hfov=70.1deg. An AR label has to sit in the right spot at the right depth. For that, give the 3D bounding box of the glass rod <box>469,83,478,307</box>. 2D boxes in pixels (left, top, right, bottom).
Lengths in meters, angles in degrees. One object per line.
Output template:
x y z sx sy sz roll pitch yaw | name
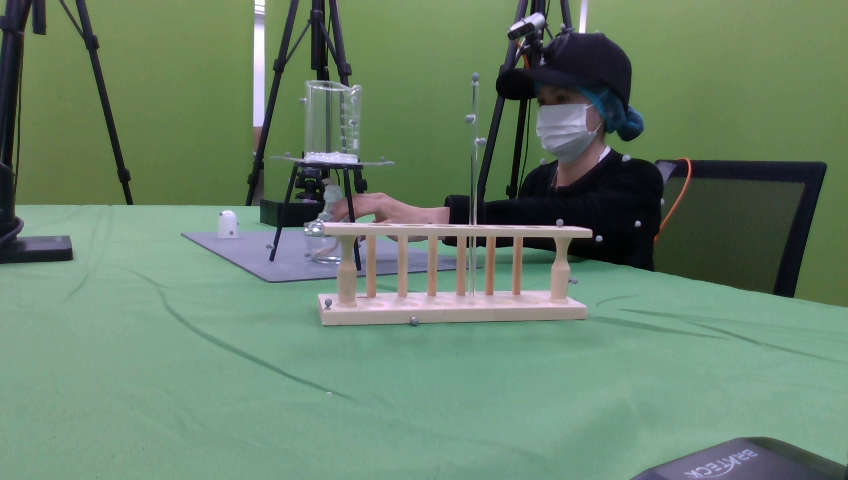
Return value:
0.043 -0.033 0.523 0.008 0.199 0.008 -1 14 1 | glass rod

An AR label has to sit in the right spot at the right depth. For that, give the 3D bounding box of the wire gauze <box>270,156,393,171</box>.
-0.122 -0.100 0.786 0.122 0.011 0.124 -5 14 -38 | wire gauze

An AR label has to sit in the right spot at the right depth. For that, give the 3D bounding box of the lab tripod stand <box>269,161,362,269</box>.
-0.125 -0.036 0.794 0.148 0.131 0.148 5 7 0 | lab tripod stand

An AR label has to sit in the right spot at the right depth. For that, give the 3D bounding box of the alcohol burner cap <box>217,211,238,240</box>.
-0.323 -0.024 0.994 0.034 0.048 0.034 3 8 0 | alcohol burner cap

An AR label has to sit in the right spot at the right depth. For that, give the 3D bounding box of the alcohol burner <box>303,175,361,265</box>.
-0.121 -0.026 0.801 0.078 0.119 0.078 2 9 0 | alcohol burner

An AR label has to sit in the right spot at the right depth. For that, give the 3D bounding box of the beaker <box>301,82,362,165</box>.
-0.117 -0.147 0.776 0.074 0.100 0.083 -3 10 -38 | beaker

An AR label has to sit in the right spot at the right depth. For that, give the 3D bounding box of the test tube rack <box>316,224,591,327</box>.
0.026 0.028 0.555 0.243 0.085 0.066 1 7 -14 | test tube rack
